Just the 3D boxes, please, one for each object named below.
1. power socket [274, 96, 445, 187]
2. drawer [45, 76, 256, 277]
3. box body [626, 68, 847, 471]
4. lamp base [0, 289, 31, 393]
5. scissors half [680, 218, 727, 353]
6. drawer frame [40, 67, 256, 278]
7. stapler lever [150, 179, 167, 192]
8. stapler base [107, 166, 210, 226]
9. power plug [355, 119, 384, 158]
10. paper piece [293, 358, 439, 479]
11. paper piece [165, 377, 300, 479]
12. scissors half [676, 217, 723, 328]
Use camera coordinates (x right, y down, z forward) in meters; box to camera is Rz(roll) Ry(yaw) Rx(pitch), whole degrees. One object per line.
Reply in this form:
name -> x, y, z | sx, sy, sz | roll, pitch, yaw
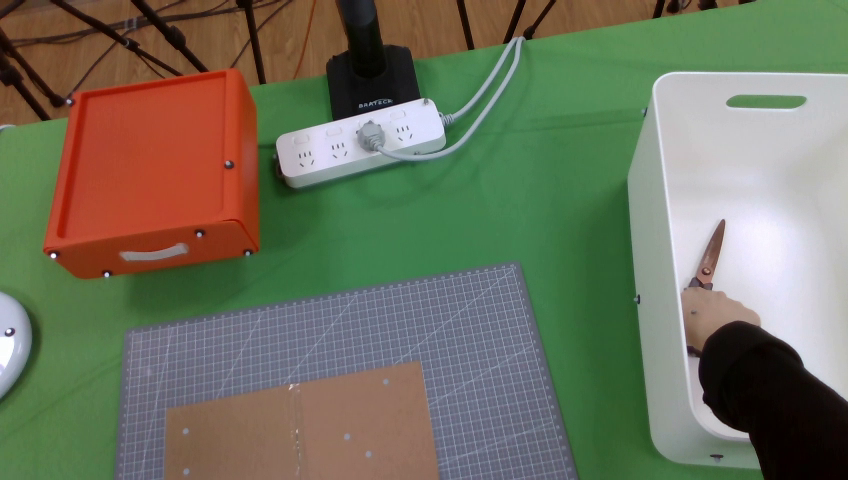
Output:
power socket -> -0.081, -0.126, 0.768 | 0.227, 0.033, 0.071 | -15, 62, -5
drawer -> -0.293, -0.075, 0.678 | 0.194, 0.074, 0.209 | -9, 61, 0
box body -> 0.342, 0.027, 0.583 | 0.254, 0.162, 0.361 | 2, 62, 5
lamp base -> -0.533, 0.083, 0.603 | 0.178, 0.182, 0.160 | 19, 64, 17
scissors half -> 0.309, 0.045, 0.654 | 0.040, 0.013, 0.174 | 14, 62, 21
drawer frame -> -0.296, -0.077, 0.679 | 0.202, 0.083, 0.211 | -9, 61, -1
stapler lever -> -0.314, -0.058, 0.662 | 0.117, 0.040, 0.027 | 17, 80, 17
stapler base -> -0.306, -0.052, 0.687 | 0.130, 0.024, 0.041 | 18, 81, 16
power plug -> -0.066, -0.115, 0.736 | 0.035, 0.053, 0.072 | -6, 62, 0
paper piece -> -0.061, 0.192, 0.607 | 0.135, 0.004, 0.134 | -10, 62, -1
paper piece -> -0.192, 0.217, 0.604 | 0.136, 0.009, 0.137 | -11, 63, 1
scissors half -> 0.293, 0.039, 0.663 | 0.039, 0.013, 0.175 | 26, 67, 33
